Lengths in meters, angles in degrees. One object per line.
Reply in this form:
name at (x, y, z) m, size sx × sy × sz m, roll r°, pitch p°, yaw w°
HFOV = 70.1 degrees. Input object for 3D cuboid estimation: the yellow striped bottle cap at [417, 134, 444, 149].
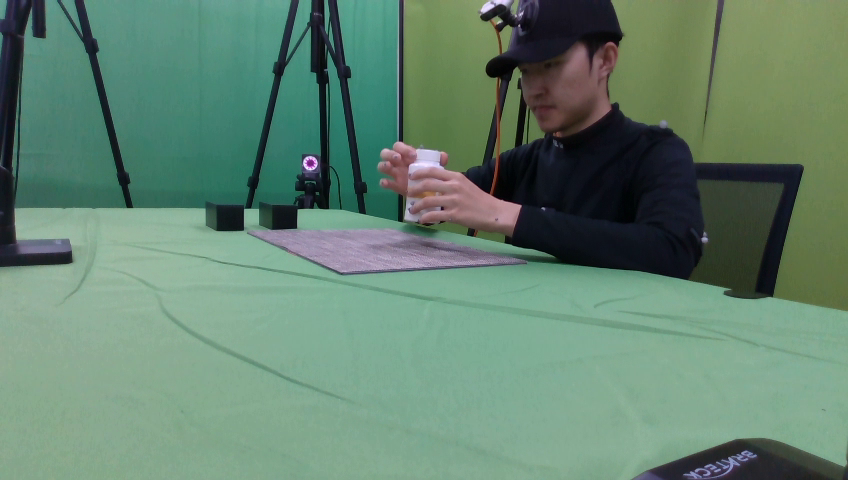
yellow striped bottle cap at (0.010, -0.167, 1.025) m, size 0.044 × 0.018 × 0.044 m, roll 13°, pitch 4°, yaw -1°

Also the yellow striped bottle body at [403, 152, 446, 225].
yellow striped bottle body at (0.002, -0.090, 1.039) m, size 0.063 × 0.120 × 0.063 m, roll 8°, pitch 13°, yaw -1°
